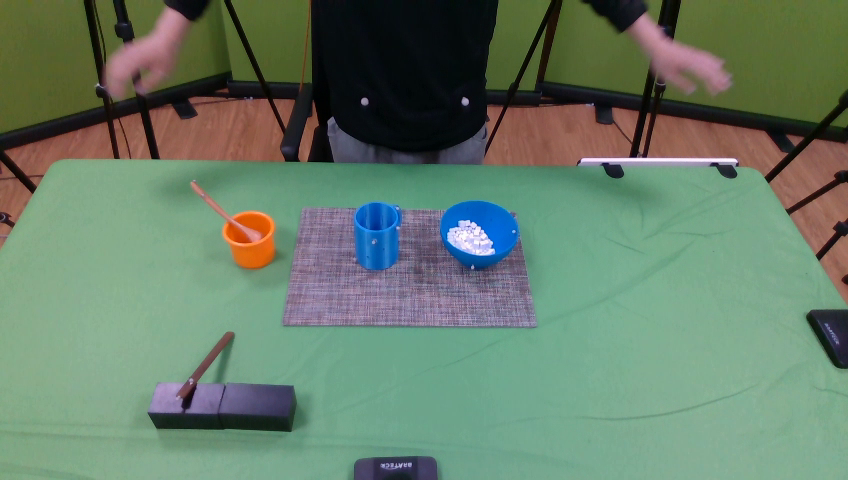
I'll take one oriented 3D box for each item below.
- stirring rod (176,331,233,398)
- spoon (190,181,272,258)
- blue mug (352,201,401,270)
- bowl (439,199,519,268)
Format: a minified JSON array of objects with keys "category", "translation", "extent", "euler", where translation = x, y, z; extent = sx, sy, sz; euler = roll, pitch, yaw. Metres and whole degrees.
[{"category":"stirring rod","translation":[-0.342,0.192,0.955],"extent":[0.014,0.006,0.175],"euler":[3,24,7]},{"category":"spoon","translation":[-0.353,-0.037,1.111],"extent":[0.194,0.021,0.041],"euler":[42,39,-20]},{"category":"blue mug","translation":[-0.082,-0.017,1.144],"extent":[0.082,0.106,0.116],"euler":[30,51,22]},{"category":"bowl","translation":[0.100,0.000,1.160],"extent":[0.151,0.077,0.150],"euler":[2,46,-2]}]
